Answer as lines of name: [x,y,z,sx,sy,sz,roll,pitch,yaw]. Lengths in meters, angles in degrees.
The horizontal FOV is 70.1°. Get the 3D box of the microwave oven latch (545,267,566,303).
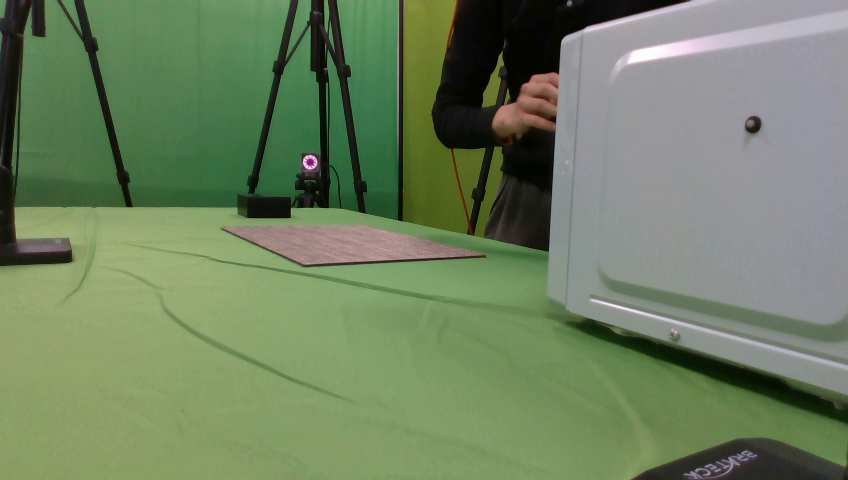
microwave oven latch: [0.148,0.039,0.555,0.079,0.029,0.030,-1,7,-28]

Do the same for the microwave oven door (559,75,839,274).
microwave oven door: [0.362,-0.093,0.851,0.354,0.243,0.039,7,8,41]

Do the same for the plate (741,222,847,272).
plate: [0.405,0.005,0.555,0.209,0.038,0.209,0,4,0]

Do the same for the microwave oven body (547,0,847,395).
microwave oven body: [0.378,-0.046,0.510,0.444,0.260,0.324,-2,7,-31]
